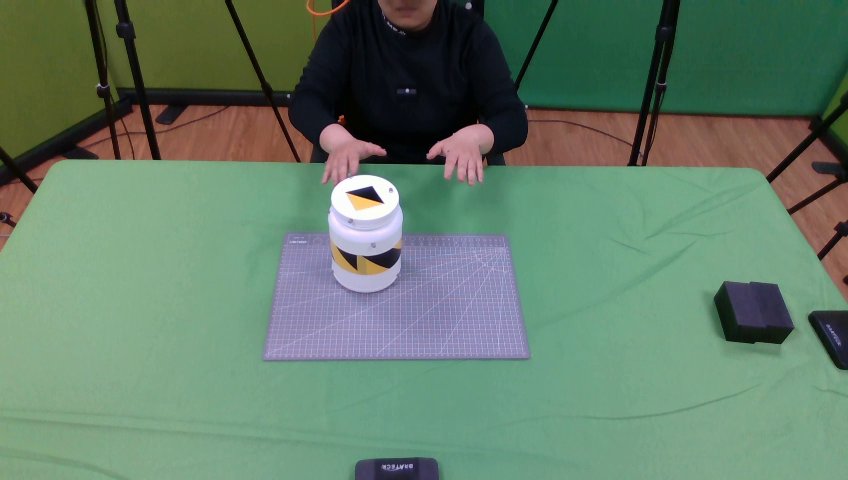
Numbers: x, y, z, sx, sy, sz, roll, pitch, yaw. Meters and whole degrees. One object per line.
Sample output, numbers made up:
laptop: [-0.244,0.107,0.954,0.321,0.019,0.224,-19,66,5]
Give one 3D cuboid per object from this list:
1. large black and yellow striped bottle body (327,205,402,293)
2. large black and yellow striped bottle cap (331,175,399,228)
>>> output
large black and yellow striped bottle body: [-0.105,-0.009,1.083,0.131,0.185,0.130,2,46,-2]
large black and yellow striped bottle cap: [-0.099,-0.067,1.022,0.115,0.019,0.114,2,47,-2]
